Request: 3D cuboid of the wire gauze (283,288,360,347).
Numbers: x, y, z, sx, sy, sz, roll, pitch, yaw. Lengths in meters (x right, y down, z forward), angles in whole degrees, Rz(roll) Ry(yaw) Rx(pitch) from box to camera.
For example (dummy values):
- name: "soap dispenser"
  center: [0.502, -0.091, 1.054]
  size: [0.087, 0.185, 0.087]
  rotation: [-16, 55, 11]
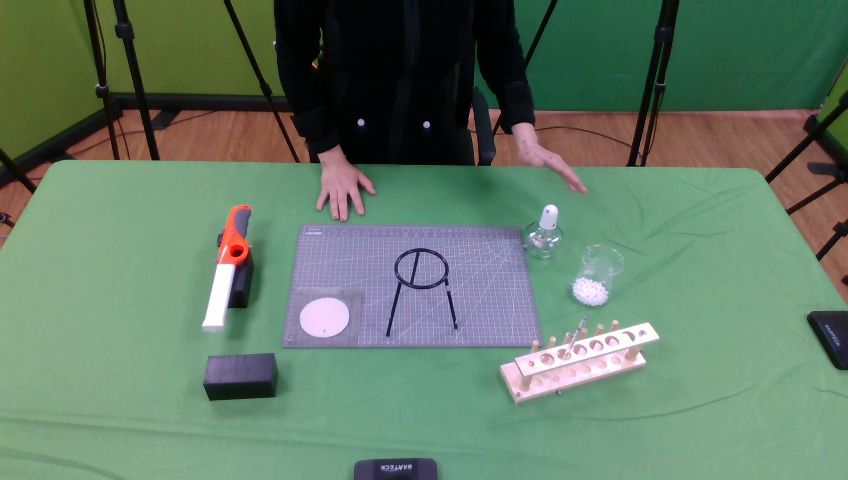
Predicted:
- name: "wire gauze"
  center: [-0.178, 0.132, 1.063]
  size: [0.125, 0.011, 0.120]
  rotation: [2, 46, 1]

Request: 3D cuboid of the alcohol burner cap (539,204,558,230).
- name: "alcohol burner cap"
  center: [0.239, -0.046, 1.148]
  size: [0.034, 0.048, 0.033]
  rotation: [2, 43, -1]

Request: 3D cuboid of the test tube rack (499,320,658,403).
- name: "test tube rack"
  center: [0.252, 0.187, 0.994]
  size: [0.243, 0.085, 0.066]
  rotation: [-12, 48, -15]

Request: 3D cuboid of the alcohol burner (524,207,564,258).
- name: "alcohol burner"
  center: [0.236, -0.021, 1.174]
  size: [0.078, 0.120, 0.077]
  rotation: [1, 48, -1]

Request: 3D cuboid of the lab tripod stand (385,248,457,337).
- name: "lab tripod stand"
  center: [-0.010, 0.087, 1.032]
  size: [0.148, 0.132, 0.147]
  rotation: [1, 45, -1]

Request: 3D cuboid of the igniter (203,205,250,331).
- name: "igniter"
  center: [-0.345, 0.039, 1.065]
  size: [0.057, 0.025, 0.274]
  rotation: [2, 49, -6]

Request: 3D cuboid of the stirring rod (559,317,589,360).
- name: "stirring rod"
  center: [0.221, 0.155, 0.912]
  size: [0.014, 0.177, 0.006]
  rotation: [4, 58, 2]

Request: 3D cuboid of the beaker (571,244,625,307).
- name: "beaker"
  center: [0.315, 0.067, 1.105]
  size: [0.084, 0.101, 0.073]
  rotation: [-9, 48, -13]
